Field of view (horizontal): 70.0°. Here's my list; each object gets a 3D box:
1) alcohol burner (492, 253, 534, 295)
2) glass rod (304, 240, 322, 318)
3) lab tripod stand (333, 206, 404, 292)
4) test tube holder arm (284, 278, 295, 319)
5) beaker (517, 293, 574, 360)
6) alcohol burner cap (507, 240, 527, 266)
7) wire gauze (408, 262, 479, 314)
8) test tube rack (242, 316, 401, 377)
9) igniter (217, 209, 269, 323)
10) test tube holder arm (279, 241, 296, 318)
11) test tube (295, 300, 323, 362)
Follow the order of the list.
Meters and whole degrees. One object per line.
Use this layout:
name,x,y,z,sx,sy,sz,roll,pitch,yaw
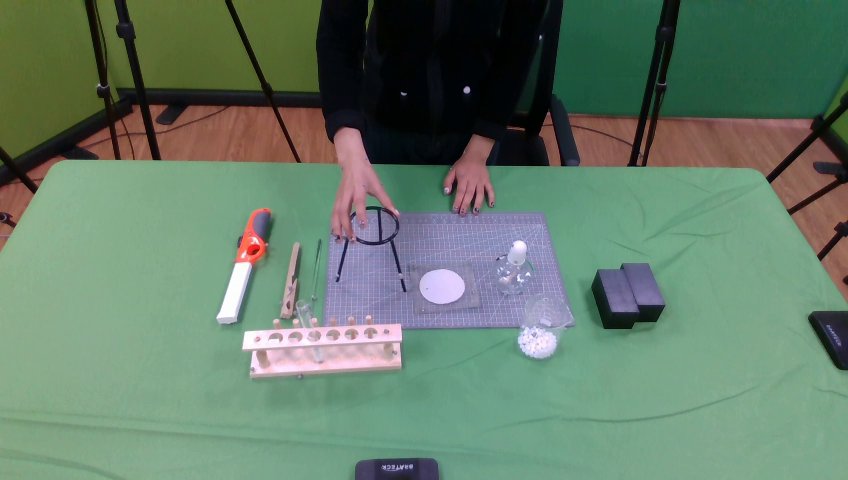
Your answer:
alcohol burner,0.165,0.045,1.103,0.078,0.119,0.077,3,47,-3
glass rod,-0.206,0.069,1.128,0.008,0.008,0.198,2,43,-2
lab tripod stand,-0.090,0.017,1.081,0.148,0.132,0.147,4,47,-4
test tube holder arm,-0.242,0.103,1.085,0.010,0.015,0.087,28,37,-29
beaker,0.200,0.149,1.018,0.084,0.101,0.073,14,47,8
alcohol burner cap,0.167,0.021,1.075,0.034,0.048,0.033,0,55,0
wire gauze,0.035,0.085,1.127,0.121,0.011,0.124,-3,43,-6
test tube rack,-0.160,0.166,0.983,0.242,0.085,0.066,-2,46,-6
igniter,-0.335,0.039,1.132,0.057,0.025,0.275,-3,46,6
test tube holder arm,-0.250,0.068,1.113,0.013,0.015,0.177,27,37,-30
test tube,-0.176,0.143,0.935,0.017,0.151,0.017,-2,46,2
